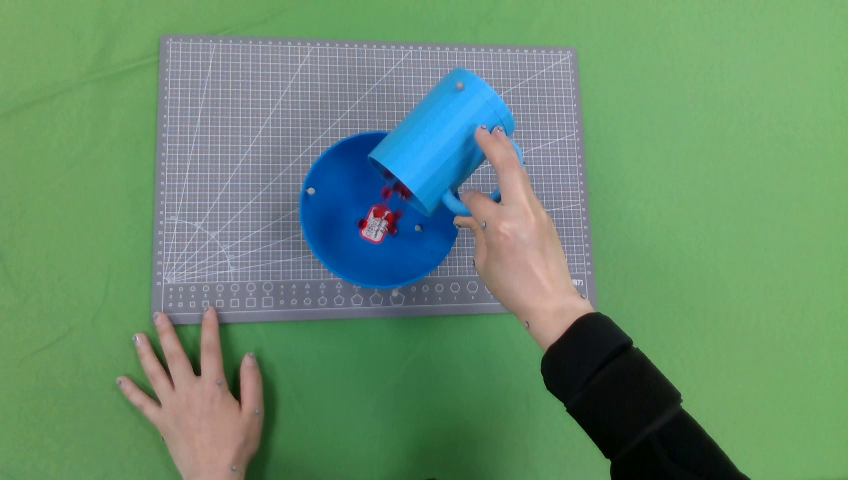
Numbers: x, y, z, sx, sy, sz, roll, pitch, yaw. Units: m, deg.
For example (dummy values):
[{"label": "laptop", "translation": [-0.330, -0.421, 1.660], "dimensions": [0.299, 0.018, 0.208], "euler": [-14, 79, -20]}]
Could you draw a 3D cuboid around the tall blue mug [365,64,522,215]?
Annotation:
[{"label": "tall blue mug", "translation": [0.022, -0.080, 0.513], "dimensions": [0.108, 0.106, 0.078], "euler": [-46, 133, -6]}]

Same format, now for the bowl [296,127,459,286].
[{"label": "bowl", "translation": [-0.046, -0.026, 0.592], "dimensions": [0.152, 0.077, 0.151], "euler": [1, 81, -8]}]
